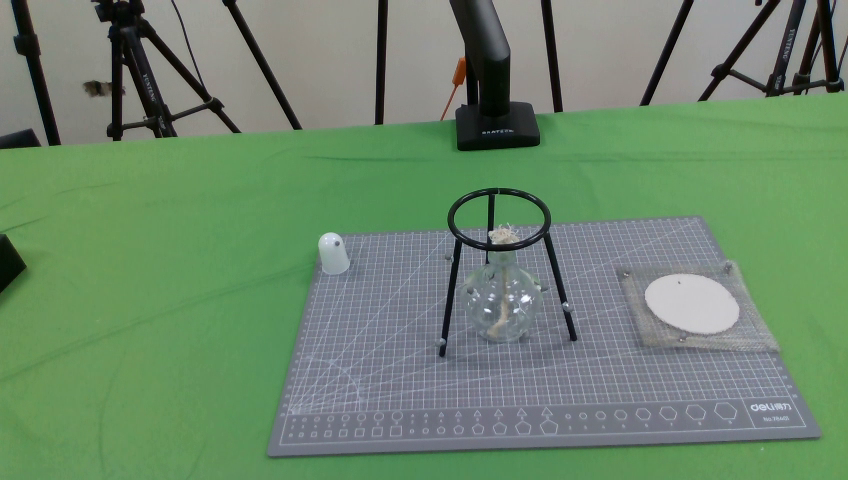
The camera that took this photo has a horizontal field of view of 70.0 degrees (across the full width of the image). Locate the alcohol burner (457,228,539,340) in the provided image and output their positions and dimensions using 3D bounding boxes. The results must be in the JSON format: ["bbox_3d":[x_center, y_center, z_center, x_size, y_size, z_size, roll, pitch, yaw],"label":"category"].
[{"bbox_3d":[0.069,0.036,0.566,0.078,0.120,0.077,-2,39,2],"label":"alcohol burner"}]

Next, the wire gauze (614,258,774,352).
[{"bbox_3d":[0.261,0.060,0.598,0.125,0.011,0.120,0,39,4],"label":"wire gauze"}]

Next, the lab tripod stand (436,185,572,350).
[{"bbox_3d":[0.070,0.026,0.562,0.148,0.132,0.147,-2,38,2],"label":"lab tripod stand"}]

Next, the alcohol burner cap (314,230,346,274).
[{"bbox_3d":[-0.106,0.010,0.676,0.034,0.048,0.033,-2,40,2],"label":"alcohol burner cap"}]
